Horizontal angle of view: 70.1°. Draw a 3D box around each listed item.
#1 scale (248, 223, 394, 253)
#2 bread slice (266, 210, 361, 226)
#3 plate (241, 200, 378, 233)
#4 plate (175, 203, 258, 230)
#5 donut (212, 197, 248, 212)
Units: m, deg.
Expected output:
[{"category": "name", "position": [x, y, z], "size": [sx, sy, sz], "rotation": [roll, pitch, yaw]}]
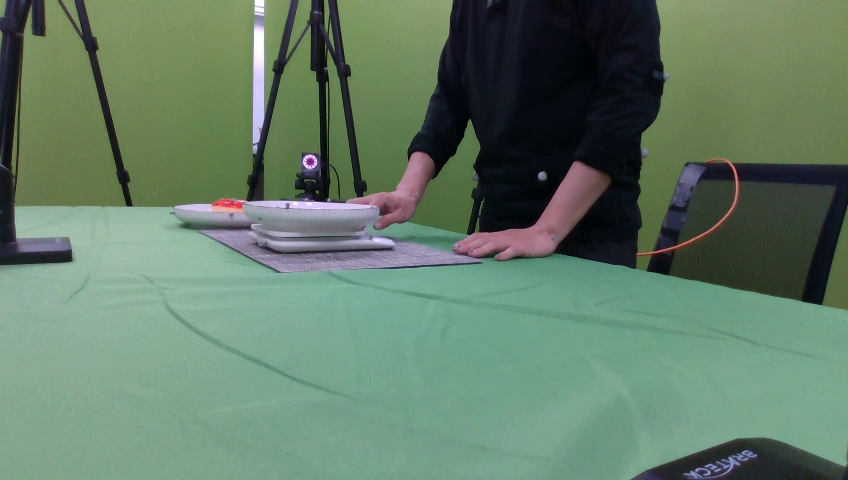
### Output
[{"category": "scale", "position": [-0.162, -0.006, 0.954], "size": [0.202, 0.031, 0.148], "rotation": [-1, 8, -32]}, {"category": "bread slice", "position": [-0.174, -0.035, 0.934], "size": [0.132, 0.019, 0.104], "rotation": [-1, 6, -28]}, {"category": "plate", "position": [-0.176, -0.038, 0.939], "size": [0.209, 0.038, 0.209], "rotation": [3, 7, 0]}, {"category": "plate", "position": [-0.381, -0.047, 1.199], "size": [0.208, 0.039, 0.207], "rotation": [3, 7, 0]}, {"category": "donut", "position": [-0.376, -0.061, 1.220], "size": [0.099, 0.048, 0.099], "rotation": [5, 4, 0]}]
